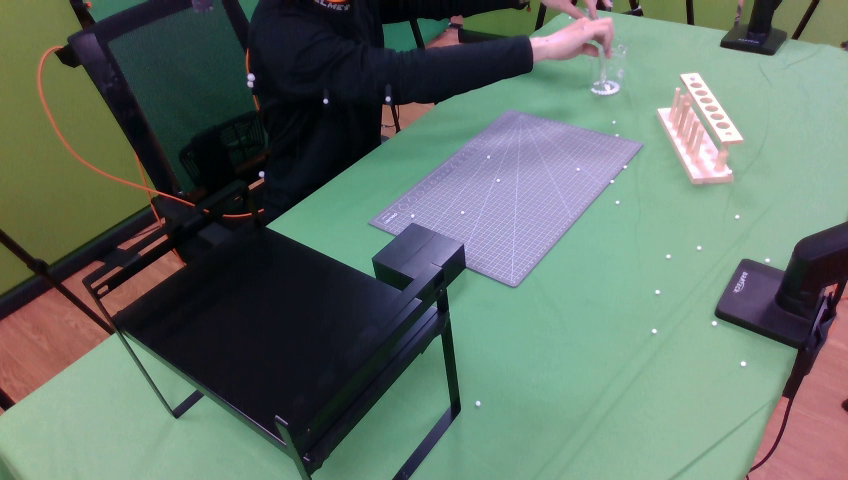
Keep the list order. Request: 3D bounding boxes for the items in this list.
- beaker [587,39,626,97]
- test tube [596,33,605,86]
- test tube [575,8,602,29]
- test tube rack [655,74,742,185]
[{"bbox_3d":[0.386,-0.361,1.280,0.074,0.101,0.083,-22,43,-15],"label":"beaker"},{"bbox_3d":[0.344,-0.353,1.181,0.017,0.017,0.149,2,55,11],"label":"test tube"},{"bbox_3d":[0.347,-0.471,1.281,0.017,0.017,0.149,-7,31,0],"label":"test tube"},{"bbox_3d":[0.488,-0.205,1.093,0.067,0.085,0.241,-3,41,5],"label":"test tube rack"}]
